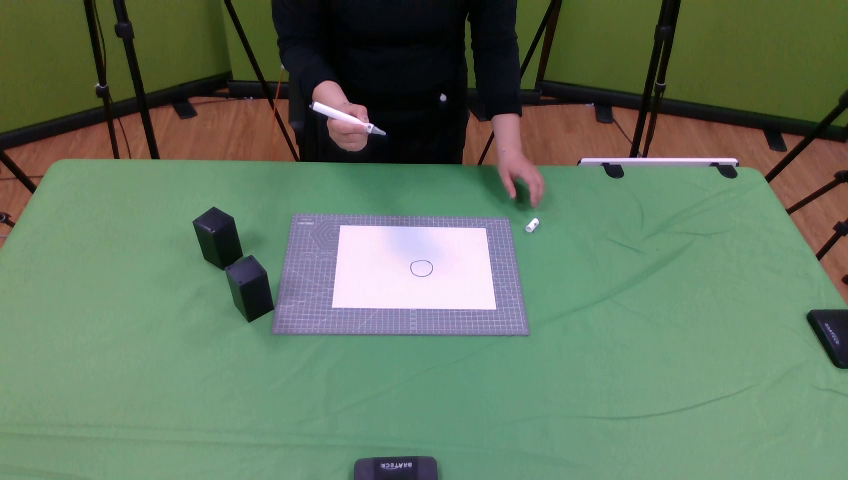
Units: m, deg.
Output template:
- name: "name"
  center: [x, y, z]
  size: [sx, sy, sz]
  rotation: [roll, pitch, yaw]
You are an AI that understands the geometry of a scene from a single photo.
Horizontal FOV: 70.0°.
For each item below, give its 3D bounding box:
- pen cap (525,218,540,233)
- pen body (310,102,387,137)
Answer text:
- name: "pen cap"
  center: [0.224, -0.031, 1.248]
  size: [0.017, 0.017, 0.038]
  rotation: [30, 52, 23]
- name: "pen body"
  center: [-0.133, -0.212, 1.078]
  size: [0.144, 0.017, 0.017]
  rotation: [22, 46, -2]
